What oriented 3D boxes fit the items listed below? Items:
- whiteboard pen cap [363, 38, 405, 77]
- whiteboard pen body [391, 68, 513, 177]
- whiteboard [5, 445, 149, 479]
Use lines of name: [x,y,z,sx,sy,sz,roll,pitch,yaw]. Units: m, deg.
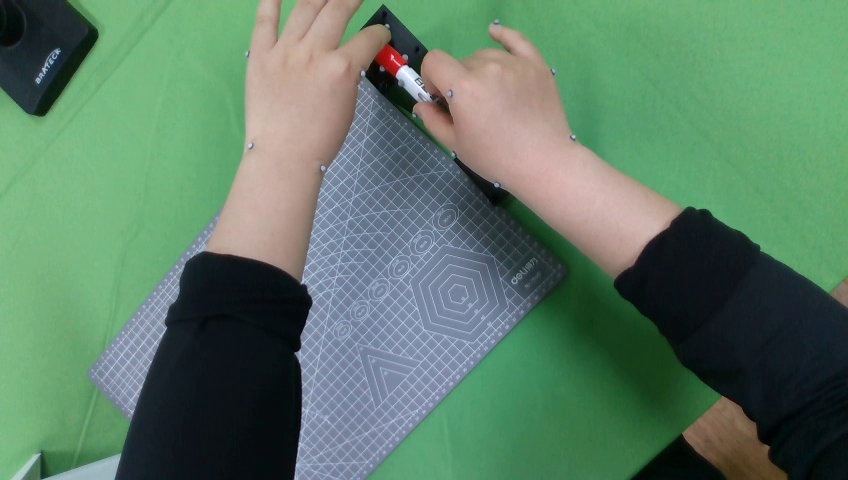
whiteboard pen cap: [-0.031,-0.143,0.477,0.032,0.017,0.017,42,100,5]
whiteboard pen body: [0.013,-0.099,0.472,0.140,0.017,0.017,42,100,5]
whiteboard: [-0.449,0.328,0.581,0.143,0.307,0.217,7,95,31]
